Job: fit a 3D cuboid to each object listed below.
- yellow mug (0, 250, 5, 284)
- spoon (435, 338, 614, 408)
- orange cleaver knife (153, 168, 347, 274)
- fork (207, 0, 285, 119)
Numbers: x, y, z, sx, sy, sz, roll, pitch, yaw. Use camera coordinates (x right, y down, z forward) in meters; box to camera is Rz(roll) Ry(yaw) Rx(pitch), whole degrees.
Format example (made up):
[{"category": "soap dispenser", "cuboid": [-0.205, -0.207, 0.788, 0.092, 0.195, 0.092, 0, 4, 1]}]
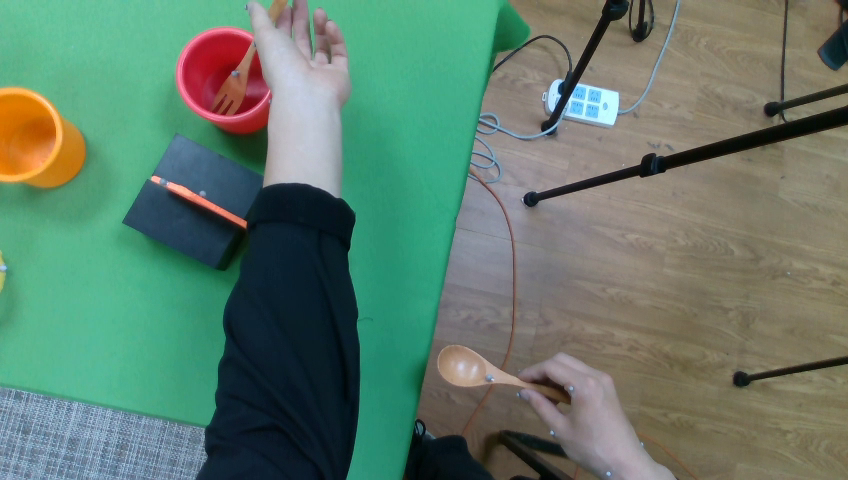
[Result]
[{"category": "yellow mug", "cuboid": [-0.473, 0.038, 0.590, 0.100, 0.064, 0.131, -29, 91, -8]}, {"category": "spoon", "cuboid": [0.104, 0.143, 0.623, 0.194, 0.022, 0.041, 16, 59, 2]}, {"category": "orange cleaver knife", "cuboid": [-0.174, -0.017, 0.623, 0.213, 0.076, 0.012, 32, 82, -33]}, {"category": "fork", "cuboid": [-0.166, -0.202, 0.605, 0.028, 0.018, 0.208, 45, 124, 1]}]
